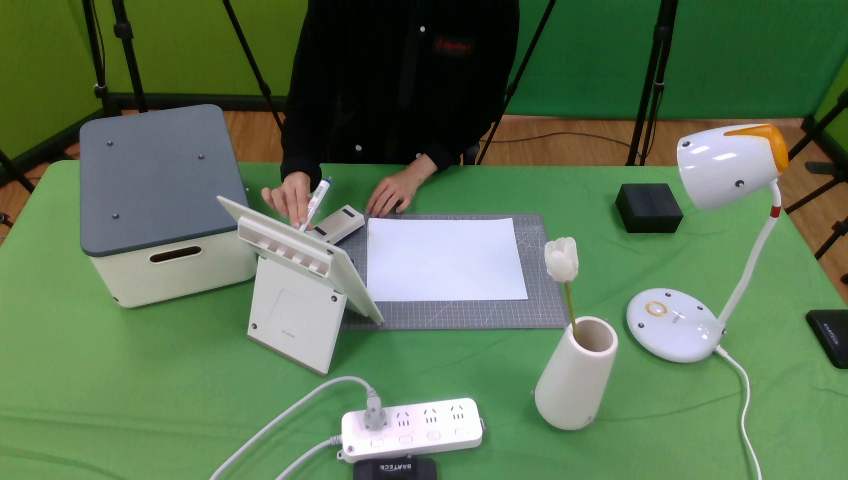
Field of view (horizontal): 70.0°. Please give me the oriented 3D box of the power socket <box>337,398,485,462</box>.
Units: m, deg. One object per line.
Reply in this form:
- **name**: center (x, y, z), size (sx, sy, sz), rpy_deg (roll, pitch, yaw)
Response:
- **power socket**: center (-0.018, 0.285, 0.914), size (0.227, 0.033, 0.071), rpy_deg (-4, 46, -8)

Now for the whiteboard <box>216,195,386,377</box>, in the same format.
- **whiteboard**: center (-0.212, 0.093, 0.939), size (0.216, 0.307, 0.143), rpy_deg (24, 70, 17)

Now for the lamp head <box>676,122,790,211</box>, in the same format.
- **lamp head**: center (0.423, -0.104, 0.819), size (0.122, 0.113, 0.112), rpy_deg (-13, 33, 40)

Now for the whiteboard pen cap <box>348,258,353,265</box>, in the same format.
- **whiteboard pen cap**: center (-0.152, 0.041, 1.146), size (0.033, 0.018, 0.018), rpy_deg (11, 47, 10)

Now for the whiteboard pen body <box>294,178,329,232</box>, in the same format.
- **whiteboard pen body**: center (-0.190, -0.042, 0.982), size (0.017, 0.017, 0.140), rpy_deg (20, 69, 14)

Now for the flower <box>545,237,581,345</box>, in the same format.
- **flower**: center (0.213, 0.137, 0.846), size (0.038, 0.364, 0.044), rpy_deg (21, 55, 40)

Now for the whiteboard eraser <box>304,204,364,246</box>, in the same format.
- **whiteboard eraser**: center (-0.175, -0.022, 1.188), size (0.055, 0.042, 0.112), rpy_deg (36, 53, 26)

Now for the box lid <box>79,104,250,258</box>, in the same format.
- **box lid**: center (-0.467, -0.120, 1.075), size (0.264, 0.015, 0.369), rpy_deg (-13, 49, -17)

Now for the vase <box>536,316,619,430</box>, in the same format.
- **vase**: center (0.229, 0.200, 0.901), size (0.098, 0.201, 0.097), rpy_deg (3, 46, -3)

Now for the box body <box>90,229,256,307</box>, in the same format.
- **box body**: center (-0.471, -0.070, 1.131), size (0.254, 0.161, 0.361), rpy_deg (-14, 49, -17)

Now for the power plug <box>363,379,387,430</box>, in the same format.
- **power plug**: center (-0.071, 0.252, 0.911), size (0.035, 0.053, 0.072), rpy_deg (3, 40, 0)

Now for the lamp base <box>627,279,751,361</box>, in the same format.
- **lamp base**: center (0.460, 0.100, 1.027), size (0.178, 0.181, 0.160), rpy_deg (27, 51, 17)
